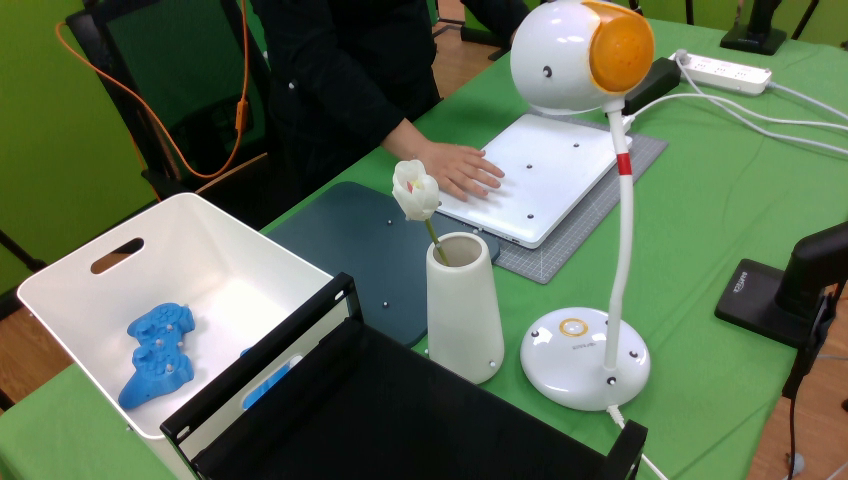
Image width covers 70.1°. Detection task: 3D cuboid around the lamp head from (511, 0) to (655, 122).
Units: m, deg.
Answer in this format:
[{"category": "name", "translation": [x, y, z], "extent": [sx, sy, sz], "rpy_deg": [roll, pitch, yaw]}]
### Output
[{"category": "lamp head", "translation": [0.155, -0.168, 0.563], "extent": [0.113, 0.113, 0.122], "rpy_deg": [-18, 23, -12]}]

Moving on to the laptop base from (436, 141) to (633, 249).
[{"category": "laptop base", "translation": [0.193, -0.117, 1.087], "extent": [0.233, 0.023, 0.355], "rpy_deg": [20, 47, 35]}]

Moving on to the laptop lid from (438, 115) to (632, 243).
[{"category": "laptop lid", "translation": [0.189, -0.126, 1.081], "extent": [0.239, 0.013, 0.358], "rpy_deg": [23, 49, 35]}]

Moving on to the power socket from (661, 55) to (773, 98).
[{"category": "power socket", "translation": [0.619, -0.352, 1.289], "extent": [0.225, 0.033, 0.072], "rpy_deg": [26, 51, 33]}]

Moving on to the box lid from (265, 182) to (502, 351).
[{"category": "box lid", "translation": [-0.087, 0.023, 0.971], "extent": [0.368, 0.015, 0.264], "rpy_deg": [23, 49, 31]}]

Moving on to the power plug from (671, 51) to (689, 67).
[{"category": "power plug", "translation": [0.541, -0.378, 1.301], "extent": [0.073, 0.053, 0.035], "rpy_deg": [-32, 46, -24]}]

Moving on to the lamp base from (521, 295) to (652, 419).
[{"category": "lamp base", "translation": [0.201, 0.095, 0.710], "extent": [0.161, 0.181, 0.178], "rpy_deg": [-16, 43, -10]}]

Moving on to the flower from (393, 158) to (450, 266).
[{"category": "flower", "translation": [0.028, 0.036, 0.664], "extent": [0.043, 0.364, 0.038], "rpy_deg": [36, 73, 30]}]

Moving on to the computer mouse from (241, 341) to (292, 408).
[{"category": "computer mouse", "translation": [-0.201, 0.177, 0.776], "extent": [0.063, 0.041, 0.116], "rpy_deg": [-11, 44, -8]}]

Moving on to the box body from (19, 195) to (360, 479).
[{"category": "box body", "translation": [-0.288, 0.118, 0.772], "extent": [0.361, 0.161, 0.255], "rpy_deg": [26, 50, 33]}]

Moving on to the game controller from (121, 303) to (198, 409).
[{"category": "game controller", "translation": [-0.364, 0.149, 0.828], "extent": [0.097, 0.052, 0.154], "rpy_deg": [-13, 41, -9]}]

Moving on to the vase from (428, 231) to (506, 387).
[{"category": "vase", "translation": [0.050, 0.087, 0.728], "extent": [0.098, 0.201, 0.097], "rpy_deg": [-3, 40, 3]}]

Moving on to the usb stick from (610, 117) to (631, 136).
[{"category": "usb stick", "translation": [0.370, -0.208, 1.147], "extent": [0.021, 0.027, 0.059], "rpy_deg": [25, 56, 33]}]
